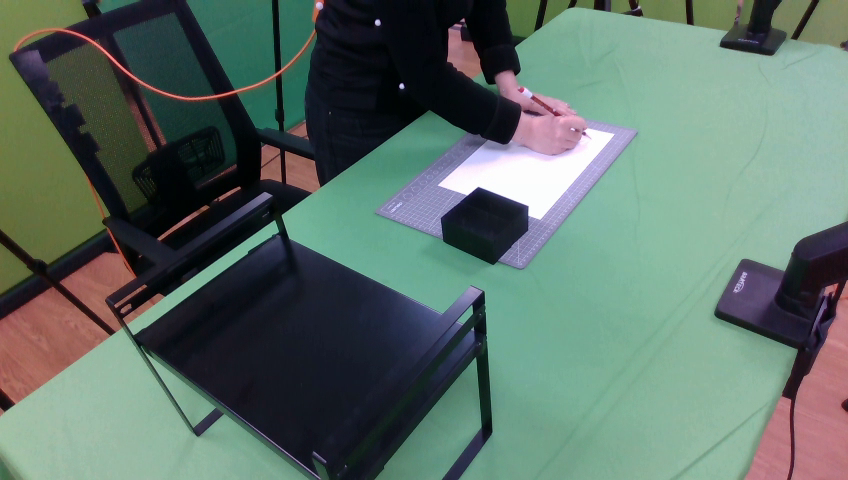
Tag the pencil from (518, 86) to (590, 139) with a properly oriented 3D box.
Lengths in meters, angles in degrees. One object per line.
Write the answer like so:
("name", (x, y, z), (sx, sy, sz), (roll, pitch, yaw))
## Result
("pencil", (0.245, -0.233, 1.119), (0.195, 0.012, 0.012), (27, 30, -29))
